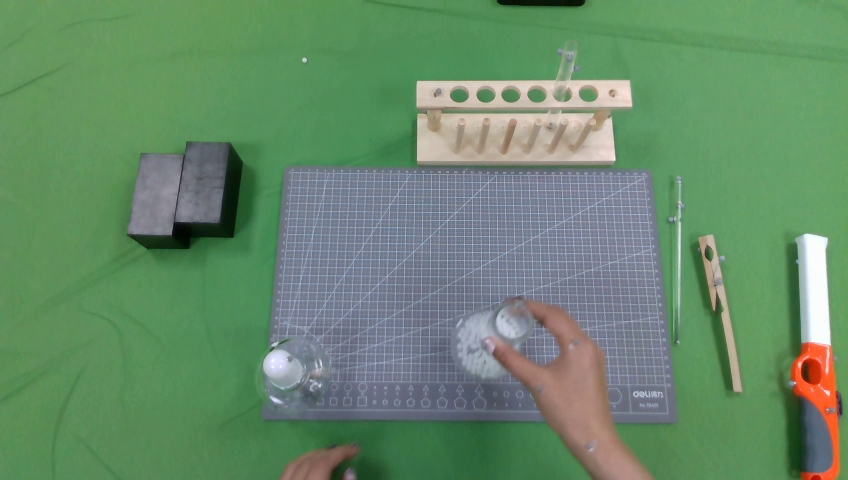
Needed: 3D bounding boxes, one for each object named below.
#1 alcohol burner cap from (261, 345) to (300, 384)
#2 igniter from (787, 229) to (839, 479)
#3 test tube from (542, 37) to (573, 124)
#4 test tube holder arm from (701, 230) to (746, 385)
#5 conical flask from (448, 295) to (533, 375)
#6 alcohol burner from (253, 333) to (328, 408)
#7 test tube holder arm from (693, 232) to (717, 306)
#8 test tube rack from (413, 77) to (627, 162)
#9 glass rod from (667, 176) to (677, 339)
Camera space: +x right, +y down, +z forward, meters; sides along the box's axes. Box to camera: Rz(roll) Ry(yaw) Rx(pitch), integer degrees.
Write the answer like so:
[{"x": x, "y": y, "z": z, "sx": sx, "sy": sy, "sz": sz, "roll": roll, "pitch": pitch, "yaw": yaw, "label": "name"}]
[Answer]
[{"x": -0.140, "y": 0.117, "z": 0.582, "sx": 0.034, "sy": 0.048, "sz": 0.033, "roll": 0, "pitch": 64, "yaw": 0, "label": "alcohol burner cap"}, {"x": 0.429, "y": 0.120, "z": 0.671, "sx": 0.057, "sy": 0.025, "sz": 0.275, "roll": 11, "pitch": 73, "yaw": -7, "label": "igniter"}, {"x": 0.148, "y": -0.174, "z": 0.678, "sx": 0.017, "sy": 0.151, "sz": 0.017, "roll": -1, "pitch": 70, "yaw": 4, "label": "test tube"}, {"x": 0.338, "y": 0.075, "z": 0.687, "sx": 0.013, "sy": 0.015, "sz": 0.177, "roll": -18, "pitch": 69, "yaw": 32, "label": "test tube holder arm"}, {"x": 0.068, "y": 0.086, "z": 0.579, "sx": 0.075, "sy": 0.122, "sz": 0.075, "roll": 3, "pitch": 71, "yaw": -7, "label": "conical flask"}, {"x": -0.139, "y": 0.130, "z": 0.616, "sx": 0.078, "sy": 0.120, "sz": 0.077, "roll": 0, "pitch": 71, "yaw": 2, "label": "alcohol burner"}, {"x": 0.328, "y": 0.034, "z": 0.703, "sx": 0.010, "sy": 0.015, "sz": 0.087, "roll": -17, "pitch": 70, "yaw": 33, "label": "test tube holder arm"}, {"x": 0.108, "y": -0.142, "z": 0.720, "sx": 0.242, "sy": 0.085, "sz": 0.066, "roll": 0, "pitch": 73, "yaw": 0, "label": "test tube rack"}, {"x": 0.291, "y": 0.017, "z": 0.712, "sx": 0.008, "sy": 0.008, "sz": 0.198, "roll": 7, "pitch": 75, "yaw": 2, "label": "glass rod"}]
